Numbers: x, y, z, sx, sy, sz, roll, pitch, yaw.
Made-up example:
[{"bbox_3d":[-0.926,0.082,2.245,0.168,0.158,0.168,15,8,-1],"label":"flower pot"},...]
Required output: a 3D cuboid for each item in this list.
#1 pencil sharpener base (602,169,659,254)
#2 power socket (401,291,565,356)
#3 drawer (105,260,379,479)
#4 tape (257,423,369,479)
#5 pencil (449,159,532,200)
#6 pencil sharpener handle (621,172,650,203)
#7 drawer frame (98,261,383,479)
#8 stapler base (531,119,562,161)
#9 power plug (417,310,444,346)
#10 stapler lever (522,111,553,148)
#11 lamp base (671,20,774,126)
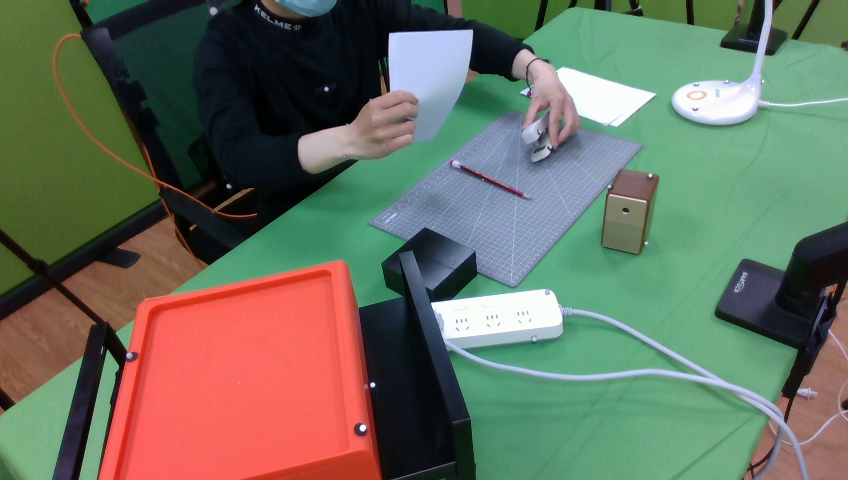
[{"bbox_3d":[0.312,-0.044,0.914,0.061,0.107,0.077,14,45,24],"label":"pencil sharpener base"},{"bbox_3d":[0.080,0.112,0.822,0.227,0.033,0.072,-6,41,0],"label":"power socket"},{"bbox_3d":[-0.150,0.127,0.525,0.195,0.073,0.210,-11,41,-5],"label":"drawer"},{"bbox_3d":[-0.121,0.262,0.660,0.117,0.053,0.116,-4,40,4],"label":"tape"},{"bbox_3d":[0.117,-0.109,1.090,0.192,0.012,0.012,31,53,34],"label":"pencil"},{"bbox_3d":[0.328,-0.087,0.941,0.036,0.068,0.030,30,49,7],"label":"pencil sharpener handle"},{"bbox_3d":[-0.148,0.129,0.520,0.202,0.083,0.212,-12,41,-6],"label":"drawer frame"},{"bbox_3d":[0.229,-0.197,1.152,0.041,0.024,0.130,-17,28,37],"label":"stapler base"},{"bbox_3d":[0.006,0.122,0.785,0.035,0.053,0.072,-1,40,9],"label":"power plug"},{"bbox_3d":[0.215,-0.216,1.144,0.026,0.040,0.118,-17,30,37],"label":"stapler lever"},{"bbox_3d":[0.581,-0.332,1.154,0.179,0.181,0.160,2,41,7],"label":"lamp base"}]
